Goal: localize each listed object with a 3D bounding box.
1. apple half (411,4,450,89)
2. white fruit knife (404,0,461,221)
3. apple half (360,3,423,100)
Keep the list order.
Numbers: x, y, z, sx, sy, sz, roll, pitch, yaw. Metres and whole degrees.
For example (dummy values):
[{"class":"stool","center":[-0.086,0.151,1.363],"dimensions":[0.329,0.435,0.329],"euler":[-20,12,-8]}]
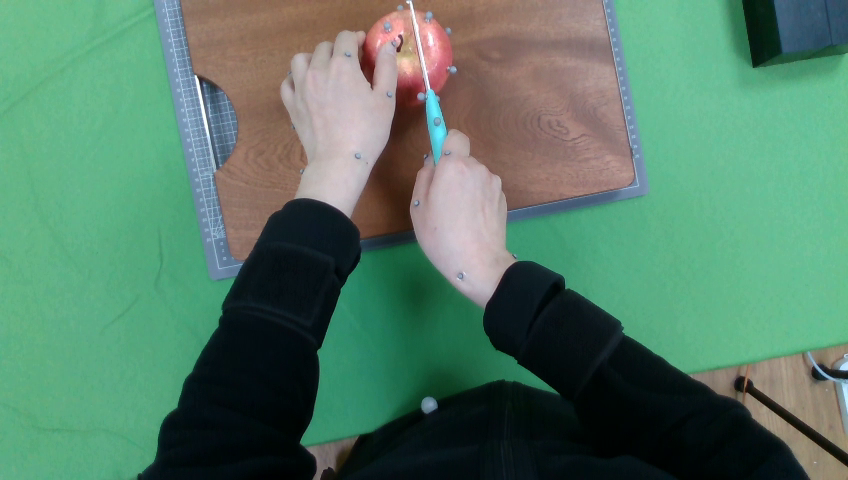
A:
[{"class":"apple half","center":[0.006,-0.173,0.546],"dimensions":[0.033,0.081,0.081],"euler":[-11,90,0]},{"class":"white fruit knife","center":[0.003,-0.118,0.502],"dimensions":[0.016,0.027,0.207],"euler":[-12,89,-7]},{"class":"apple half","center":[-0.030,-0.165,0.546],"dimensions":[0.053,0.074,0.081],"euler":[-14,95,3]}]
